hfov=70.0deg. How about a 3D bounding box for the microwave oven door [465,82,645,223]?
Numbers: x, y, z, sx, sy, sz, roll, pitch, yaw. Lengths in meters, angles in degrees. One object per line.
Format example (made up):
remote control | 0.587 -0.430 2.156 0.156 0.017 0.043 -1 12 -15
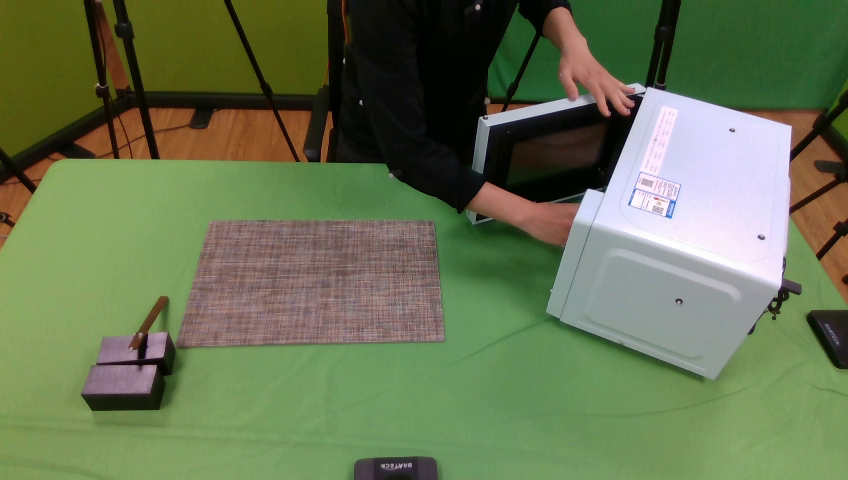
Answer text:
microwave oven door | 0.258 -0.173 1.206 0.356 0.245 0.039 -16 50 -18

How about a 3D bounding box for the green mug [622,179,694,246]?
green mug | 0.431 -0.047 1.133 0.125 0.105 0.092 -10 50 -14

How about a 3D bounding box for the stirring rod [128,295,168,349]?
stirring rod | -0.451 0.131 0.996 0.014 0.006 0.175 9 21 -10

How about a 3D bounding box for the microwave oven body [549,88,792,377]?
microwave oven body | 0.456 -0.028 1.088 0.325 0.261 0.440 20 47 16

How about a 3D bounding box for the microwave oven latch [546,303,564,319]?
microwave oven latch | 0.242 0.102 1.081 0.030 0.029 0.079 21 48 17
